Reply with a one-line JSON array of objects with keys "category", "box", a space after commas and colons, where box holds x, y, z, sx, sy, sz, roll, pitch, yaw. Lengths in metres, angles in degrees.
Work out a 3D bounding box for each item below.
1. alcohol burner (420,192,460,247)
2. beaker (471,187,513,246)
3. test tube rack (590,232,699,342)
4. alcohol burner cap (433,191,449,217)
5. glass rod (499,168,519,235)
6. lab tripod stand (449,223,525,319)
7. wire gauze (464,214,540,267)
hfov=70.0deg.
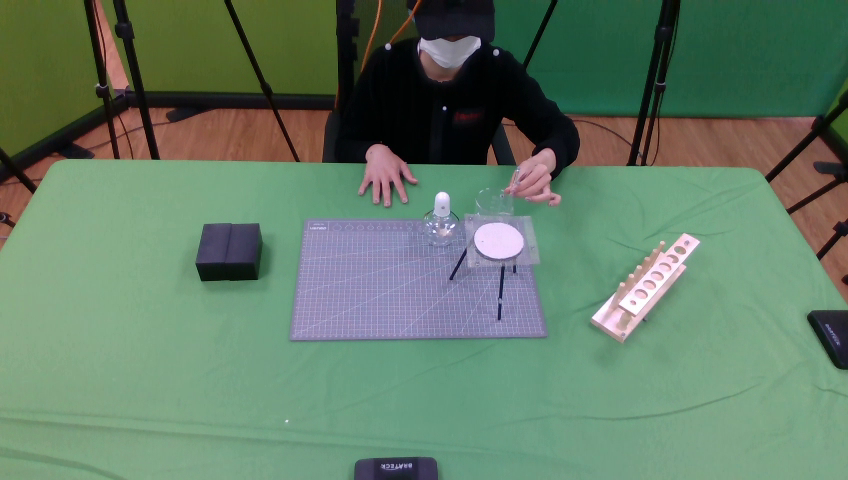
[{"category": "alcohol burner", "box": [0.032, -0.045, 1.176, 0.078, 0.120, 0.077, 2, 44, -1]}, {"category": "beaker", "box": [0.134, -0.042, 1.190, 0.083, 0.101, 0.074, 34, 53, 25]}, {"category": "test tube rack", "box": [0.407, 0.074, 1.112, 0.066, 0.085, 0.242, 35, 53, 26]}, {"category": "alcohol burner cap", "box": [0.033, -0.070, 1.150, 0.034, 0.048, 0.033, 0, 45, 0]}, {"category": "glass rod", "box": [0.160, -0.068, 1.144, 0.008, 0.200, 0.008, 2, 55, -2]}, {"category": "lab tripod stand", "box": [0.120, 0.046, 1.080, 0.148, 0.132, 0.147, 1, 47, -1]}, {"category": "wire gauze", "box": [0.131, -0.002, 1.034, 0.121, 0.011, 0.124, 1, 45, -2]}]
